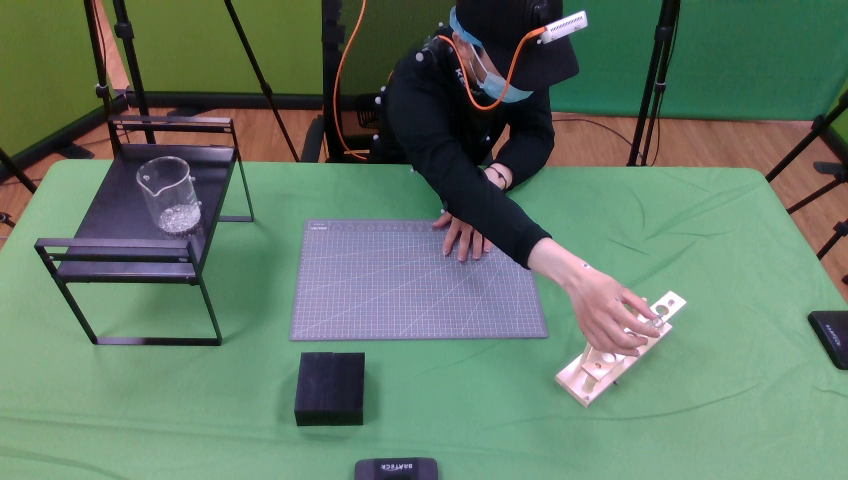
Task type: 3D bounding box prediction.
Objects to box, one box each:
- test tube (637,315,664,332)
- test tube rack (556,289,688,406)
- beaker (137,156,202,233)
[{"bbox_3d":[0.348,0.131,0.935,0.017,0.151,0.017,-2,77,10],"label":"test tube"},{"bbox_3d":[0.332,0.166,1.014,0.242,0.085,0.066,-30,55,-28],"label":"test tube rack"},{"bbox_3d":[-0.385,-0.064,0.925,0.074,0.101,0.083,2,47,-1],"label":"beaker"}]
